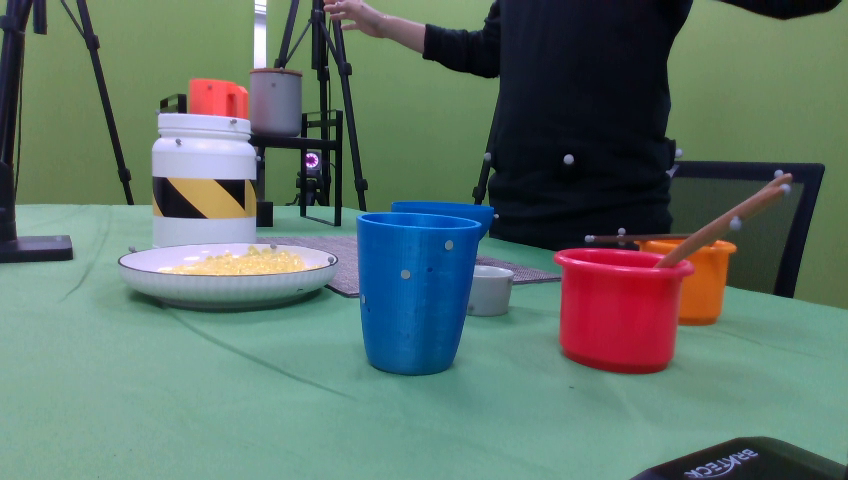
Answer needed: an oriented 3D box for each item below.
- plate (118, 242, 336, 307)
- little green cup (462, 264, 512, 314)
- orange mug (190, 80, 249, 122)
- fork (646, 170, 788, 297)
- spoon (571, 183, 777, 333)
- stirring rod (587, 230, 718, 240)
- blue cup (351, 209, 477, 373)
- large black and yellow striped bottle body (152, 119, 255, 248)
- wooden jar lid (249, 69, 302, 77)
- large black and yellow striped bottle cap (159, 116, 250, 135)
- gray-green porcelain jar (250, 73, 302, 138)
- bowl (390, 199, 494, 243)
[{"bbox_3d":[-0.194,0.033,0.615,0.209,0.038,0.209,2,7,0],"label":"plate"},{"bbox_3d":[0.053,0.047,0.580,0.061,0.038,0.061,3,8,0],"label":"little green cup"},{"bbox_3d":[-0.393,-0.257,1.173,0.126,0.100,0.084,1,6,25],"label":"orange mug"},{"bbox_3d":[0.256,0.004,0.543,0.028,0.018,0.207,3,-36,-9],"label":"fork"},{"bbox_3d":[0.161,0.020,0.413,0.042,0.021,0.193,1,-36,-24],"label":"spoon"},{"bbox_3d":[0.226,-0.006,0.588,0.177,0.006,0.014,-2,10,-30],"label":"stirring rod"},{"bbox_3d":[-0.009,0.034,0.414,0.093,0.100,0.092,4,9,0],"label":"blue cup"},{"bbox_3d":[-0.296,-0.070,0.819,0.131,0.184,0.130,2,7,0],"label":"large black and yellow striped bottle body"},{"bbox_3d":[-0.309,-0.341,1.262,0.108,0.020,0.108,1,8,0],"label":"wooden jar lid"},{"bbox_3d":[-0.292,-0.153,0.810,0.115,0.019,0.115,3,9,0],"label":"large black and yellow striped bottle cap"},{"bbox_3d":[-0.312,-0.280,1.270,0.106,0.126,0.106,3,8,0],"label":"gray-green porcelain jar"},{"bbox_3d":[0.024,-0.015,0.872,0.151,0.077,0.151,3,7,0],"label":"bowl"}]
